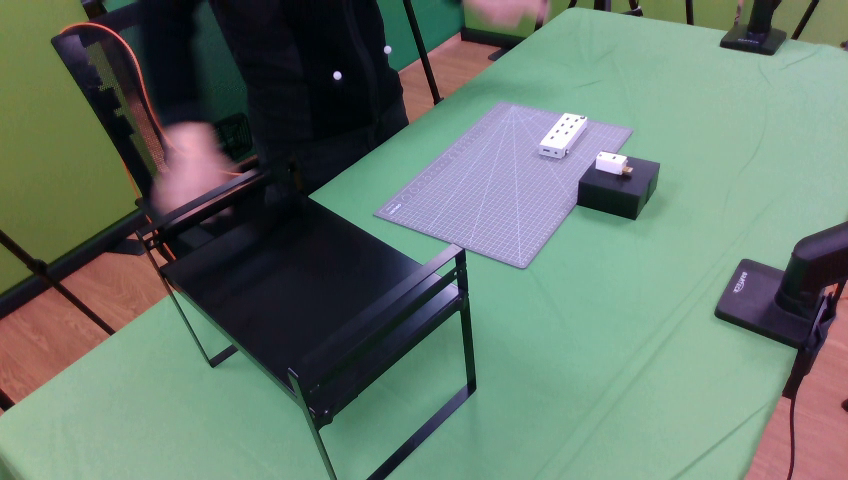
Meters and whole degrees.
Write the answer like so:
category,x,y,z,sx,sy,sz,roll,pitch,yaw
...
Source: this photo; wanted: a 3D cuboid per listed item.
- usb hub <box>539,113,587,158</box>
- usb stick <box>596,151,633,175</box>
category,x,y,z,sx,sy,sz,roll,pitch,yaw
usb hub,0.269,-0.202,1.164,0.049,0.025,0.125,19,47,27
usb stick,0.315,-0.125,0.994,0.059,0.027,0.021,23,47,27
